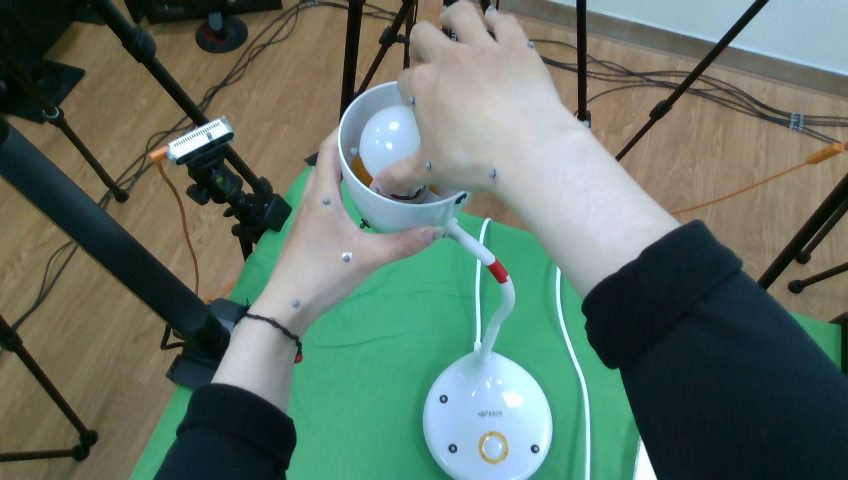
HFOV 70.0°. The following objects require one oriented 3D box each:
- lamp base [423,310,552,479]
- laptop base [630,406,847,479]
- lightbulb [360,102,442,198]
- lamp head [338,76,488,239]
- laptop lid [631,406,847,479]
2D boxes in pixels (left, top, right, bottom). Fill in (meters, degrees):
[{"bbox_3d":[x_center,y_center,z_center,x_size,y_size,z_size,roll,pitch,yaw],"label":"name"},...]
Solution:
[{"bbox_3d":[0.076,0.166,0.689,0.161,0.181,0.177,-10,59,-7],"label":"lamp base"},{"bbox_3d":[0.404,0.353,0.689,0.353,0.023,0.234,17,65,7],"label":"laptop base"},{"bbox_3d":[-0.016,-0.061,0.464,0.059,0.108,0.059,0,68,1],"label":"lightbulb"},{"bbox_3d":[-0.010,-0.050,0.491,0.112,0.124,0.111,1,61,-2],"label":"lamp head"},{"bbox_3d":[0.403,0.349,0.678,0.356,0.013,0.240,18,64,8],"label":"laptop lid"}]
